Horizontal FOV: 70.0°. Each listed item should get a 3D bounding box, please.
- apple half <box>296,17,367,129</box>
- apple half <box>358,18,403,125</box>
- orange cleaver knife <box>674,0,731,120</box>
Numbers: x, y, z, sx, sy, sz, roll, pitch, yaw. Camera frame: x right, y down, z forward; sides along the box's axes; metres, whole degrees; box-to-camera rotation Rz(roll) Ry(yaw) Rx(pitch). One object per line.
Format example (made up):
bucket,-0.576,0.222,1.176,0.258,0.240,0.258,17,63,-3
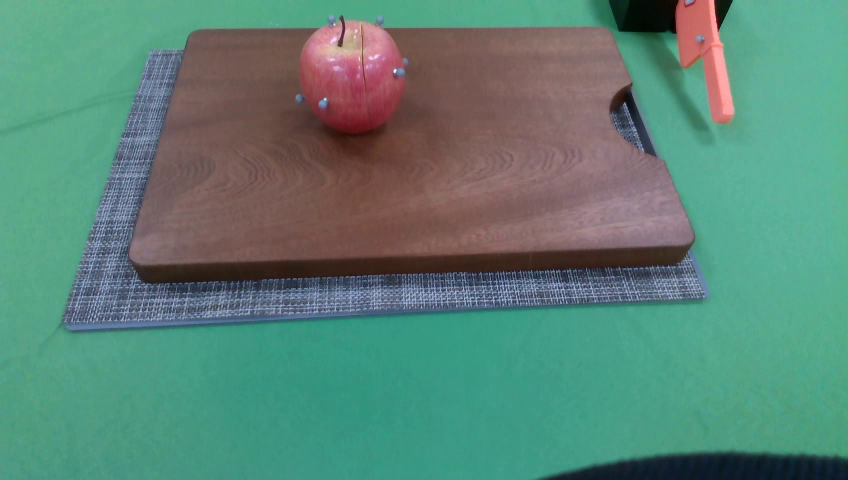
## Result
apple half,-0.072,-0.129,0.473,0.053,0.075,0.080,-4,58,-2
apple half,-0.032,-0.131,0.476,0.033,0.082,0.080,-5,54,-2
orange cleaver knife,0.260,-0.204,0.576,0.012,0.077,0.210,2,76,-5
